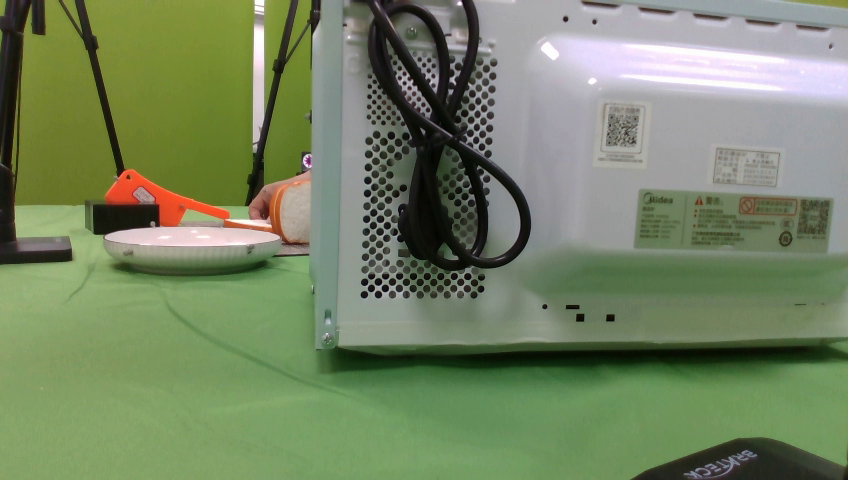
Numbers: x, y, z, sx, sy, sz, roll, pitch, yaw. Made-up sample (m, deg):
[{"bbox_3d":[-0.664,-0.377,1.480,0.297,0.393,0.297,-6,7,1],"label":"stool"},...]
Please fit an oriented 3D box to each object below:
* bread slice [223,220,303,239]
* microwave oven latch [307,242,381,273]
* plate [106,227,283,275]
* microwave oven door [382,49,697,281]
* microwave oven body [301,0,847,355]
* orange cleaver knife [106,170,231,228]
[{"bbox_3d":[-0.274,-0.018,1.040,0.135,0.018,0.106,6,2,-42],"label":"bread slice"},{"bbox_3d":[-0.086,0.019,0.656,0.079,0.029,0.030,2,7,-10],"label":"microwave oven latch"},{"bbox_3d":[-0.288,0.013,0.772,0.208,0.039,0.207,2,7,0],"label":"plate"},{"bbox_3d":[0.135,-0.077,0.685,0.357,0.243,0.039,1,8,-12],"label":"microwave oven door"},{"bbox_3d":[0.120,-0.053,0.535,0.443,0.260,0.325,2,7,-11],"label":"microwave oven body"},{"bbox_3d":[-0.458,-0.060,1.097,0.212,0.077,0.012,23,-4,-38],"label":"orange cleaver knife"}]
